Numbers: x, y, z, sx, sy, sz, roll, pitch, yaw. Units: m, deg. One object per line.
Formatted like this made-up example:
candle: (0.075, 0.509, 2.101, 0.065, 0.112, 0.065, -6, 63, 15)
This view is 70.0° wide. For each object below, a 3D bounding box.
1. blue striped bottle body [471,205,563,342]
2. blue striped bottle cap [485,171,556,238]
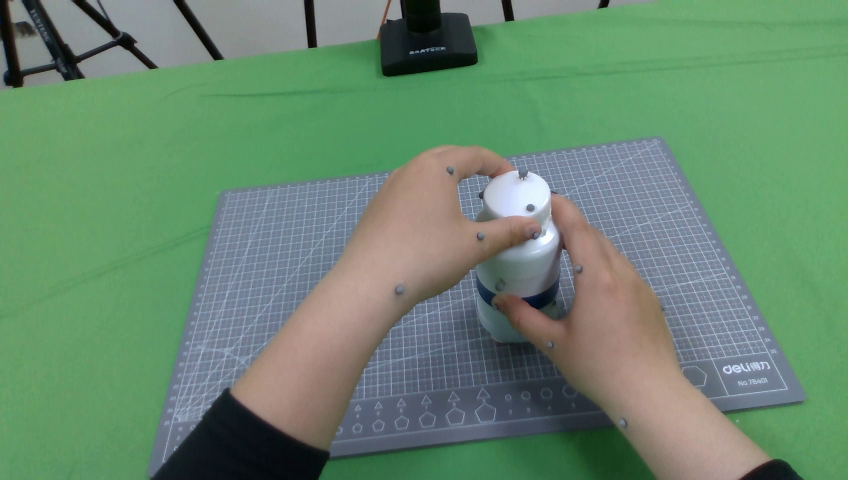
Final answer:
blue striped bottle body: (0.067, 0.015, 0.434, 0.063, 0.122, 0.062, -4, 46, 5)
blue striped bottle cap: (0.063, -0.023, 0.394, 0.044, 0.021, 0.044, -11, 47, 12)
